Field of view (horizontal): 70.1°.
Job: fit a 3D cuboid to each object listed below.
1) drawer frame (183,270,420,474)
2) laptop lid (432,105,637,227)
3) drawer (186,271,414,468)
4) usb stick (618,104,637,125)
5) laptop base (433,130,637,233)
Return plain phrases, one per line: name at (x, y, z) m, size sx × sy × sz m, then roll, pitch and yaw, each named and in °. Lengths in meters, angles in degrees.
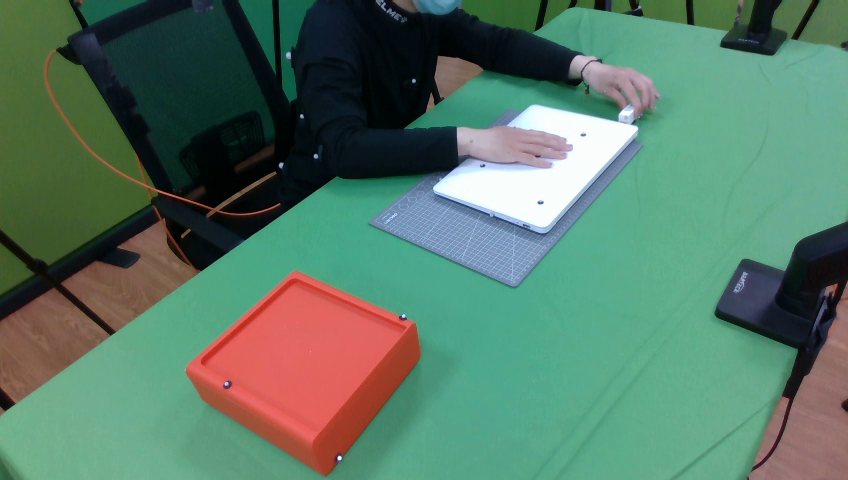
drawer frame at (-0.149, 0.153, 0.767) m, size 0.212 × 0.083 × 0.202 m, roll 20°, pitch 46°, yaw 27°
laptop lid at (0.207, -0.151, 1.105) m, size 0.239 × 0.013 × 0.358 m, roll 23°, pitch 48°, yaw 34°
drawer at (-0.150, 0.153, 0.768) m, size 0.210 × 0.073 × 0.195 m, roll 20°, pitch 46°, yaw 28°
usb stick at (0.393, -0.239, 1.177) m, size 0.021 × 0.027 × 0.059 m, roll 19°, pitch 53°, yaw 34°
laptop base at (0.210, -0.142, 1.111) m, size 0.233 × 0.023 × 0.355 m, roll 21°, pitch 48°, yaw 34°
